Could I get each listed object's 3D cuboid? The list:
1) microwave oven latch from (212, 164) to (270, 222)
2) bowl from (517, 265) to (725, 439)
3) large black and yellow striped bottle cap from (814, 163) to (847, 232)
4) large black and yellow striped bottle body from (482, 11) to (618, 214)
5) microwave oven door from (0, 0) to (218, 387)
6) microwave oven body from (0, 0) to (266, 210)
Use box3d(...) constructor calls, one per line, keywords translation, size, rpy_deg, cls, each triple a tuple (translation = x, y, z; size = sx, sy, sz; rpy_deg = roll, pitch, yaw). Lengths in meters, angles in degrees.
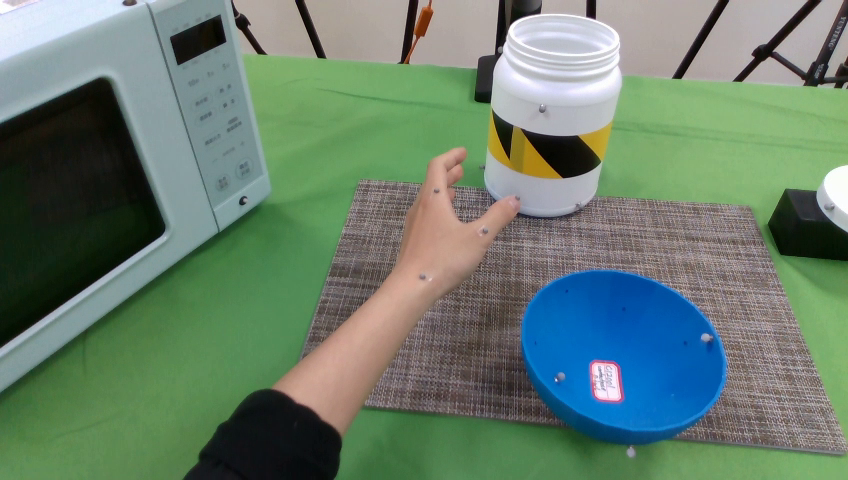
box3d(translation=(-0.200, -0.054, 0.647), size=(0.030, 0.030, 0.079), rpy_deg=(27, 51, 24), cls="microwave oven latch")
box3d(translation=(0.146, 0.100, 0.481), size=(0.151, 0.077, 0.150), rpy_deg=(0, 44, 0), cls="bowl")
box3d(translation=(0.456, -0.038, 0.605), size=(0.115, 0.019, 0.114), rpy_deg=(0, 43, 1), cls="large black and yellow striped bottle cap")
box3d(translation=(0.133, -0.136, 0.651), size=(0.131, 0.185, 0.129), rpy_deg=(1, 41, 0), cls="large black and yellow striped bottle body")
box3d(translation=(-0.325, -0.003, 0.445), size=(0.039, 0.246, 0.355), rpy_deg=(25, 49, 24), cls="microwave oven door")
box3d(translation=(-0.422, -0.080, 0.531), size=(0.324, 0.262, 0.440), rpy_deg=(26, 50, 23), cls="microwave oven body")
